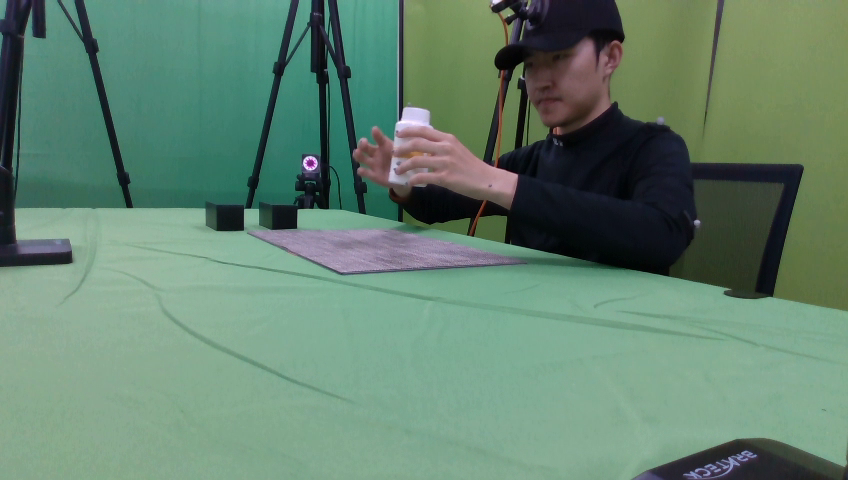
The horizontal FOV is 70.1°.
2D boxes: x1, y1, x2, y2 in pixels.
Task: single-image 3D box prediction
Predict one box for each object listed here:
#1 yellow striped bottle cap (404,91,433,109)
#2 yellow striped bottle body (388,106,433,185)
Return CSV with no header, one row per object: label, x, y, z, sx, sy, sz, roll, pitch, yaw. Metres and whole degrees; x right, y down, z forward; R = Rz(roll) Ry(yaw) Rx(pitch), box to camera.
yellow striped bottle cap,-0.009,-0.223,0.962,0.044,0.018,0.044,16,5,-1
yellow striped bottle body,-0.020,-0.151,0.971,0.063,0.120,0.063,7,3,0
